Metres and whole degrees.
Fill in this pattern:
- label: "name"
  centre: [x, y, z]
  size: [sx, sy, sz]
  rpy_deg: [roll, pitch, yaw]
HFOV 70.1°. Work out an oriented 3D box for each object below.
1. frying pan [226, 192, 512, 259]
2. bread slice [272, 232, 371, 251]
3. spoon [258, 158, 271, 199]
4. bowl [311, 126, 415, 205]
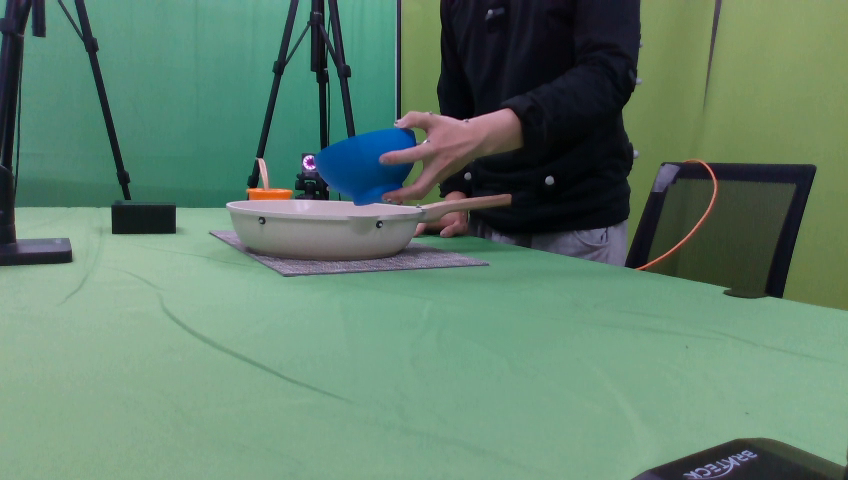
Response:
- label: "frying pan"
  centre: [-0.058, -0.041, 0.975]
  size: [0.490, 0.102, 0.305]
  rpy_deg: [-11, 13, -26]
- label: "bread slice"
  centre: [-0.148, 0.001, 0.929]
  size: [0.133, 0.018, 0.107]
  rpy_deg: [5, 7, 38]
- label: "spoon"
  centre: [-0.332, -0.107, 1.269]
  size: [0.042, 0.021, 0.193]
  rpy_deg: [0, 52, -24]
- label: "bowl"
  centre: [-0.075, -0.097, 0.854]
  size: [0.151, 0.076, 0.151]
  rpy_deg: [-17, -4, -1]
